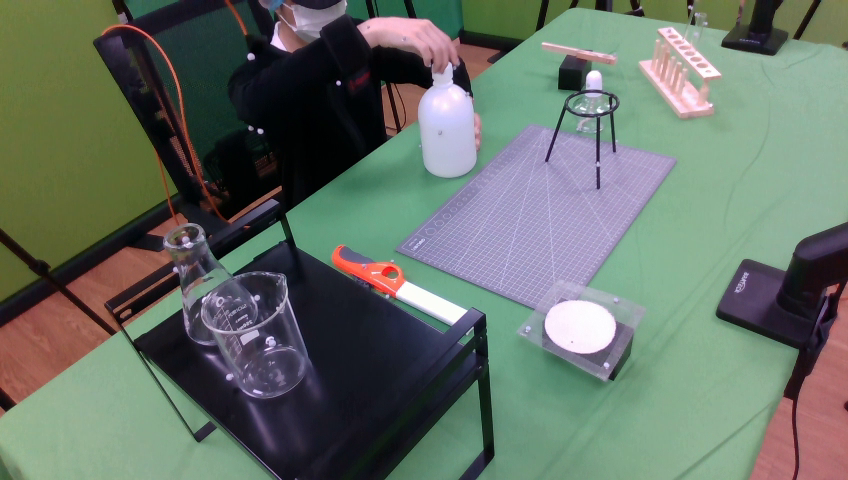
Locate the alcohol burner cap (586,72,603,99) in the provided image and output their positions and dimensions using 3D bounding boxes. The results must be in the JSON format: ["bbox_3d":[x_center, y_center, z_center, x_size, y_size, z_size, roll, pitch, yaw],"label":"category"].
[{"bbox_3d":[0.325,-0.297,1.154,0.034,0.048,0.033,-8,35,6],"label":"alcohol burner cap"}]

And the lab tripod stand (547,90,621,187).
[{"bbox_3d":[0.289,-0.184,1.062,0.148,0.132,0.147,-6,41,6],"label":"lab tripod stand"}]

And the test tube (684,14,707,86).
[{"bbox_3d":[0.541,-0.379,1.216,0.017,0.151,0.017,-2,44,2],"label":"test tube"}]

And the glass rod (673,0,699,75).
[{"bbox_3d":[0.541,-0.427,1.246,0.008,0.200,0.008,0,48,1],"label":"glass rod"}]

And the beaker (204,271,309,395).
[{"bbox_3d":[-0.149,0.088,0.565,0.073,0.101,0.084,21,47,29],"label":"beaker"}]

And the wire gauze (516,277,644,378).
[{"bbox_3d":[0.197,0.103,0.765,0.124,0.011,0.122,23,50,32],"label":"wire gauze"}]

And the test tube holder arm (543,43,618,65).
[{"bbox_3d":[0.344,-0.412,1.340,0.177,0.015,0.013,25,51,31],"label":"test tube holder arm"}]

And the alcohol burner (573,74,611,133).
[{"bbox_3d":[0.330,-0.270,1.177,0.078,0.119,0.077,-4,43,4],"label":"alcohol burner"}]

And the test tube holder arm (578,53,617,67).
[{"bbox_3d":[0.375,-0.393,1.314,0.087,0.015,0.010,25,51,32],"label":"test tube holder arm"}]

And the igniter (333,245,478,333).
[{"bbox_3d":[-0.038,0.068,0.905,0.274,0.025,0.057,24,60,32],"label":"igniter"}]

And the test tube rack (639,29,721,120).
[{"bbox_3d":[0.527,-0.351,1.262,0.067,0.085,0.241,-8,40,1],"label":"test tube rack"}]

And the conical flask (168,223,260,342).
[{"bbox_3d":[-0.219,0.040,0.614,0.075,0.122,0.075,-5,40,4],"label":"conical flask"}]

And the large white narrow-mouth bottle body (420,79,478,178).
[{"bbox_3d":[0.043,-0.217,1.098,0.102,0.195,0.101,-4,40,4],"label":"large white narrow-mouth bottle body"}]

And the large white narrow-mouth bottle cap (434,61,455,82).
[{"bbox_3d":[0.035,-0.289,1.037,0.038,0.024,0.037,-4,40,4],"label":"large white narrow-mouth bottle cap"}]
